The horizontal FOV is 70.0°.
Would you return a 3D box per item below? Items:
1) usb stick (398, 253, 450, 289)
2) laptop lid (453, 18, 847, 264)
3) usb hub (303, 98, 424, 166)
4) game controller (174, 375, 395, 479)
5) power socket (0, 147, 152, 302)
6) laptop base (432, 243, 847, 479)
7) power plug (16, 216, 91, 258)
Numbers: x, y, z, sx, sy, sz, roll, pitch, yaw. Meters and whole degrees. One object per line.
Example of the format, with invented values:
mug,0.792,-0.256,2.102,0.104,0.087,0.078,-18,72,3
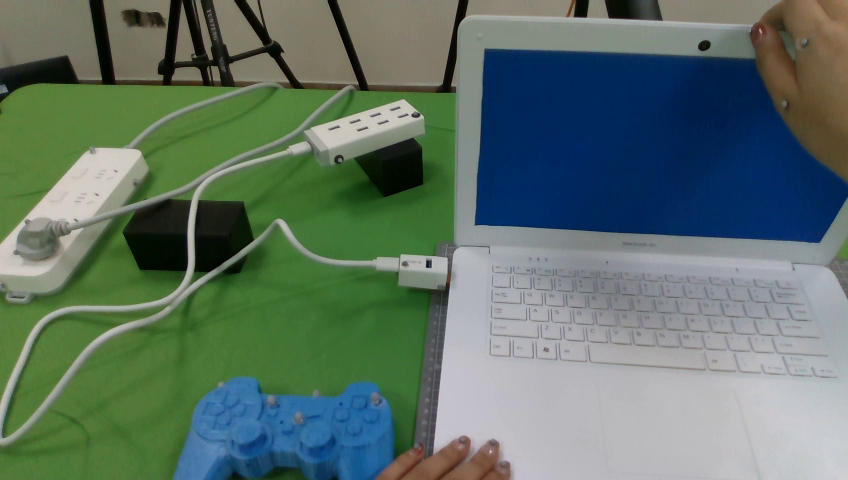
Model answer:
usb stick,0.006,0.029,0.558,0.059,0.027,0.021,6,42,-4
laptop lid,0.200,-0.067,0.501,0.356,0.244,0.013,2,46,6
usb hub,-0.065,-0.120,0.666,0.125,0.025,0.049,-23,48,-21
game controller,-0.095,0.143,0.437,0.155,0.052,0.096,3,38,4
power socket,-0.366,-0.028,0.640,0.072,0.033,0.224,5,43,5
laptop base,0.191,0.099,0.500,0.354,0.023,0.233,3,46,4
power plug,-0.346,0.006,0.567,0.072,0.053,0.035,13,44,12
